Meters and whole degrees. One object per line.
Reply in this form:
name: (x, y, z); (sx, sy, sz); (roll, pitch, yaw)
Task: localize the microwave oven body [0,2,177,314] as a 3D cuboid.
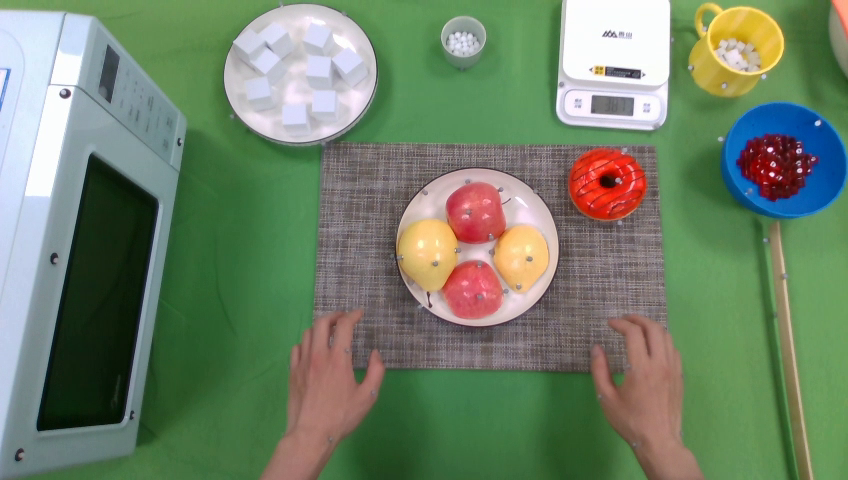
microwave oven body: (-0.495, 0.003, 0.663); (0.326, 0.261, 0.439); (3, 78, 1)

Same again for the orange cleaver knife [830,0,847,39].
orange cleaver knife: (0.565, -0.274, 0.779); (0.077, 0.012, 0.210); (-8, 78, -5)

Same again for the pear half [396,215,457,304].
pear half: (0.006, 0.023, 0.746); (0.076, 0.056, 0.109); (-4, 80, -9)

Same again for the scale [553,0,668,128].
scale: (0.258, -0.256, 0.835); (0.148, 0.032, 0.200); (5, 78, 2)

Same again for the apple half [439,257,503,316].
apple half: (0.058, 0.056, 0.751); (0.081, 0.033, 0.081); (0, 70, 1)

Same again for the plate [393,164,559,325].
plate: (0.065, 0.006, 0.771); (0.209, 0.038, 0.208); (0, 77, 1)

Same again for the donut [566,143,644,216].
donut: (0.233, -0.078, 0.785); (0.099, 0.048, 0.098); (-1, 78, 4)

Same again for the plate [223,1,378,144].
plate: (-0.165, -0.225, 0.829); (0.208, 0.039, 0.206); (0, 77, 1)

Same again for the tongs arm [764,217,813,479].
tongs arm: (0.462, 0.161, 0.739); (0.051, 0.026, 0.383); (2, 78, -4)

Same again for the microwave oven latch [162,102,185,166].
microwave oven latch: (-0.334, -0.139, 0.792); (0.030, 0.029, 0.079); (5, 78, 1)

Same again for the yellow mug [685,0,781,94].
yellow mug: (0.406, -0.270, 0.819); (0.100, 0.064, 0.130); (-31, 78, -5)

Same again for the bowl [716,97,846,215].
bowl: (0.438, -0.096, 0.774); (0.151, 0.077, 0.150); (0, 78, 1)

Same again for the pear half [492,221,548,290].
pear half: (0.119, 0.017, 0.762); (0.070, 0.031, 0.087); (-1, 74, 14)

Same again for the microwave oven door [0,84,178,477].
microwave oven door: (-0.352, 0.051, 0.646); (0.039, 0.245, 0.354); (3, 77, 2)

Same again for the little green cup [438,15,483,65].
little green cup: (0.050, -0.274, 0.838); (0.061, 0.039, 0.061); (0, 77, 1)

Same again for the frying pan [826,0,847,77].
frying pan: (0.729, -0.204, 0.782); (0.307, 0.103, 0.484); (-25, 70, -4)

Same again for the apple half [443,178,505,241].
apple half: (0.062, -0.041, 0.764); (0.074, 0.053, 0.080); (-11, 80, 1)
